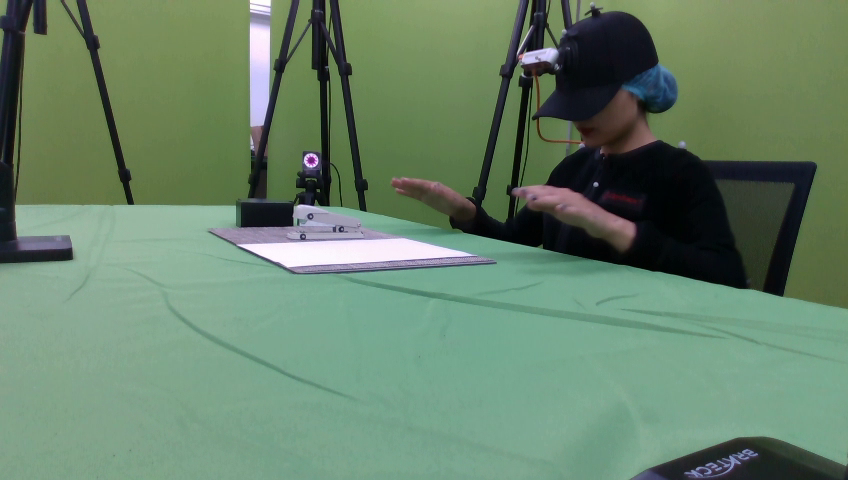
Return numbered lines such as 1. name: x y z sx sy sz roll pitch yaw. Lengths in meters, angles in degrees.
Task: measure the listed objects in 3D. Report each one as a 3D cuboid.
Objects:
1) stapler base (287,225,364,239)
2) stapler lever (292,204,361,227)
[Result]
1. stapler base: -0.169 -0.016 1.039 0.131 0.024 0.041 0 11 -29
2. stapler lever: -0.166 -0.041 1.037 0.119 0.040 0.026 -1 11 -28
